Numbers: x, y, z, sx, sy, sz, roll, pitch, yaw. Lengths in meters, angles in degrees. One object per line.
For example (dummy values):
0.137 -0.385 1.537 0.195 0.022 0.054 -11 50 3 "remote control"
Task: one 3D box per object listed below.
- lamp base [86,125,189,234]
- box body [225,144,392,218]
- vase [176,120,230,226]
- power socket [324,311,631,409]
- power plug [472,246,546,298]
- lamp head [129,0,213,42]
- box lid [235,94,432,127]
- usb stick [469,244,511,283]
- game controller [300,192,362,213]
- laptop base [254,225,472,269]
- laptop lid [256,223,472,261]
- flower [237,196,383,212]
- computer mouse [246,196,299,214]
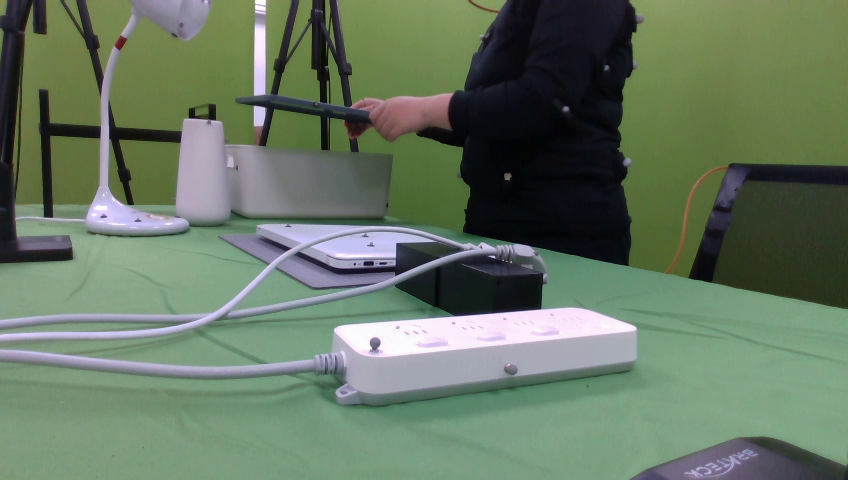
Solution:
-0.497 -0.105 1.027 0.179 0.180 0.160 1 7 3 "lamp base"
-0.289 -0.143 1.475 0.366 0.160 0.253 -1 9 -29 "box body"
-0.424 -0.128 1.159 0.098 0.200 0.098 2 9 0 "vase"
0.042 0.075 0.410 0.228 0.032 0.072 -1 8 -25 "power socket"
0.081 0.030 0.584 0.072 0.052 0.035 11 28 9 "power plug"
-0.423 -0.394 0.980 0.123 0.112 0.112 20 7 -3 "lamp head"
-0.194 -0.272 1.295 0.373 0.015 0.262 2 8 -33 "box lid"
0.080 0.029 0.674 0.059 0.021 0.027 28 26 -29 "usb stick"
-0.241 -0.097 1.550 0.155 0.051 0.097 2 8 4 "game controller"
-0.095 0.010 0.912 0.237 0.023 0.352 3 6 -32 "laptop base"
-0.092 0.000 0.912 0.243 0.013 0.355 1 7 -30 "laptop lid"
-0.282 -0.082 1.492 0.362 0.038 0.044 3 35 2 "flower"
-0.354 -0.083 1.418 0.117 0.041 0.063 0 10 7 "computer mouse"
